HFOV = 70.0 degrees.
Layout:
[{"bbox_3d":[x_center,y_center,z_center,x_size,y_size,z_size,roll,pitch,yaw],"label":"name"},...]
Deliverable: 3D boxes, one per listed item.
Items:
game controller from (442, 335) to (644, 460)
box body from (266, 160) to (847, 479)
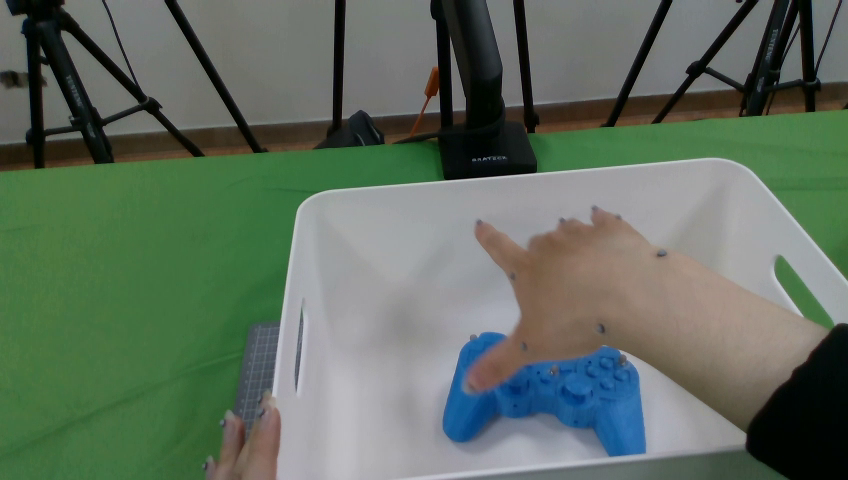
[{"bbox_3d":[0.097,0.122,0.487,0.155,0.052,0.096,6,37,10],"label":"game controller"},{"bbox_3d":[0.093,0.088,0.447,0.364,0.162,0.251,-5,40,-2],"label":"box body"}]
